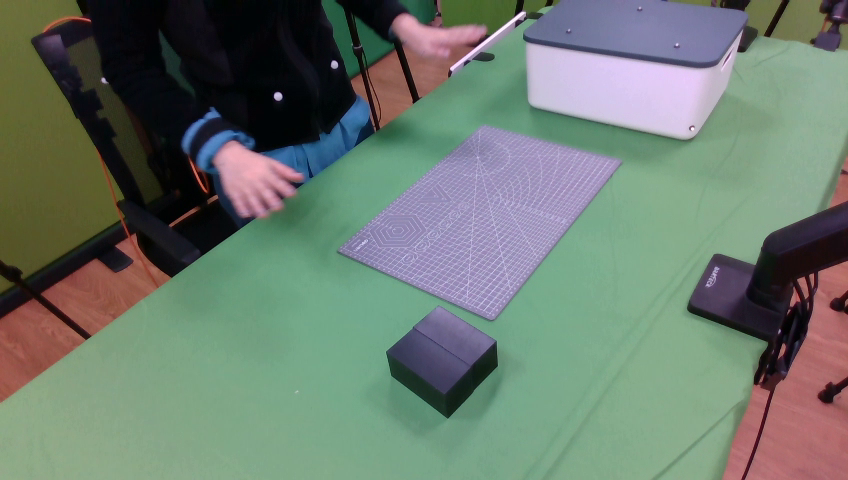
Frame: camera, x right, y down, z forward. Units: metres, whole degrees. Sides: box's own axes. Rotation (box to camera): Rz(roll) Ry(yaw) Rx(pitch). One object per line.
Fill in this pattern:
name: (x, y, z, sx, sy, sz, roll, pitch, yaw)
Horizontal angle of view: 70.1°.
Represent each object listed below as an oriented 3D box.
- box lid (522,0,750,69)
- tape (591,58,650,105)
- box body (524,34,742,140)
box lid: (0.405, -0.409, 1.163, 0.369, 0.015, 0.264, 20, 47, 29)
tape: (0.407, -0.331, 1.259, 0.117, 0.053, 0.116, -2, 40, 2)
box body: (0.412, -0.354, 1.212, 0.361, 0.161, 0.254, 20, 48, 29)
